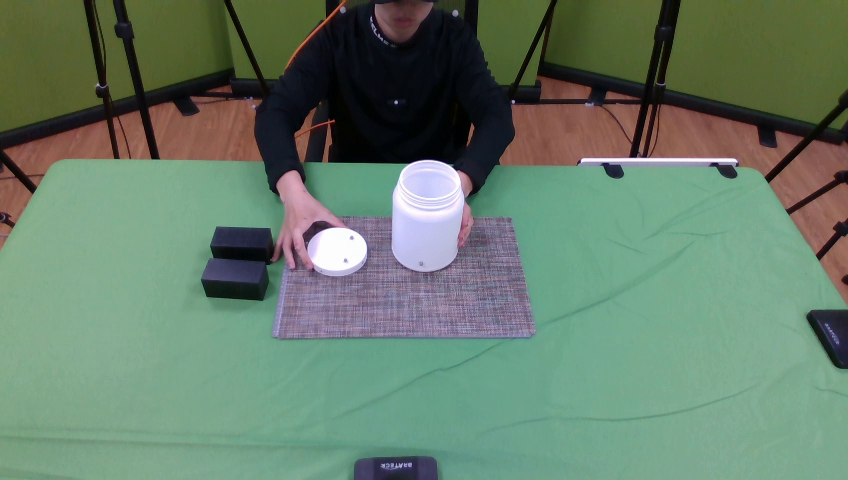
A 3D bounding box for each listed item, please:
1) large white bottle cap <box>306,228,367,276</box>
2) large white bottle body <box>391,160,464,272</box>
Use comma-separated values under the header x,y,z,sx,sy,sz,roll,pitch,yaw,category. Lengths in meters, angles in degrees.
x,y,z,sx,sy,sz,roll,pitch,yaw,category
-0.168,0.022,1.162,0.115,0.018,0.114,2,46,-2,large white bottle cap
0.005,-0.045,1.123,0.131,0.185,0.130,2,47,-2,large white bottle body
